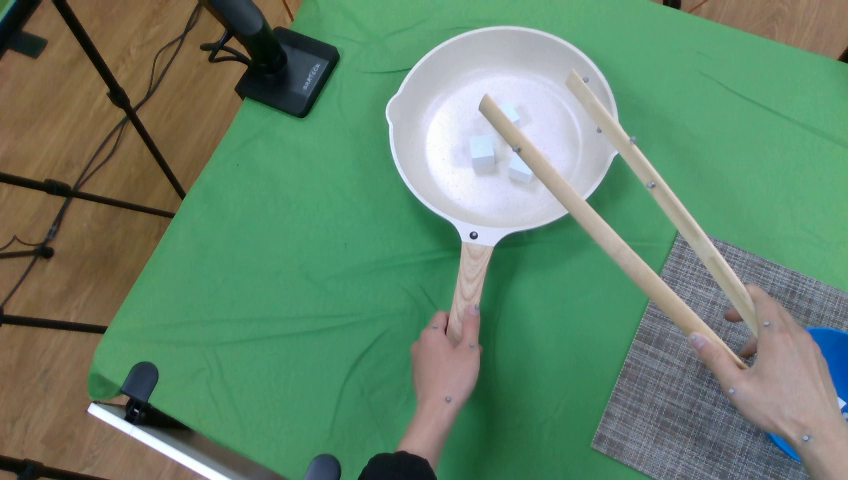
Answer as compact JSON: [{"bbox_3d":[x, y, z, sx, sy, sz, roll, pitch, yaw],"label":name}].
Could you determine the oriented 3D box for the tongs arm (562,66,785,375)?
[{"bbox_3d":[0.235,-0.036,0.620,0.051,0.027,0.381,-19,65,-25],"label":"tongs arm"}]

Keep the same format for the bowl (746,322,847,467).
[{"bbox_3d":[0.424,0.170,0.668,0.151,0.077,0.150,-2,73,5],"label":"bowl"}]

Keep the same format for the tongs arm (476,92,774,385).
[{"bbox_3d":[0.177,-0.012,0.592,0.028,0.028,0.384,-28,68,-32],"label":"tongs arm"}]

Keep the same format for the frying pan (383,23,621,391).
[{"bbox_3d":[0.075,-0.052,0.760,0.306,0.103,0.485,10,67,10],"label":"frying pan"}]
